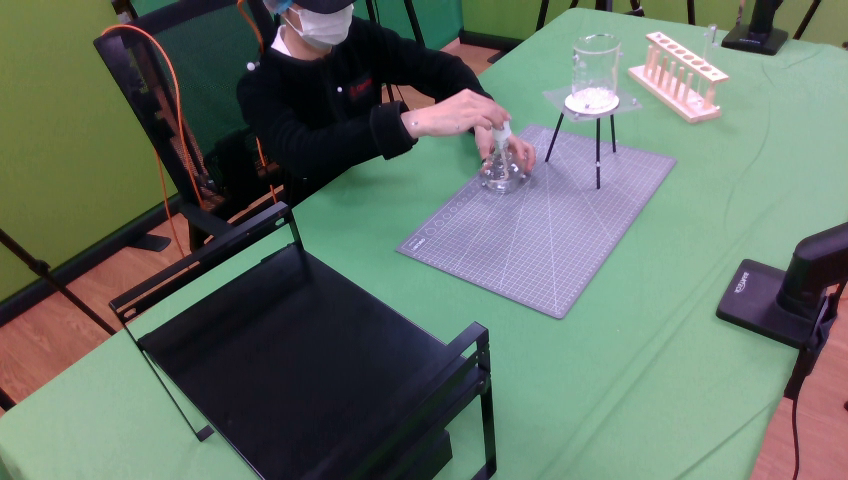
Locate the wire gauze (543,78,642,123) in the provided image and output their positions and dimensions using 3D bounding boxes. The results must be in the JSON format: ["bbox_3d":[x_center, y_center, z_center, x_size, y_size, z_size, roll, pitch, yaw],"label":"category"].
[{"bbox_3d":[0.282,-0.234,1.021,0.125,0.011,0.120,-17,38,-4],"label":"wire gauze"}]

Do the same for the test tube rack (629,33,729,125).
[{"bbox_3d":[0.516,-0.337,1.248,0.067,0.085,0.240,-14,41,-7],"label":"test tube rack"}]

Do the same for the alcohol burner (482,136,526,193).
[{"bbox_3d":[0.138,-0.142,1.052,0.078,0.119,0.077,-5,42,5],"label":"alcohol burner"}]

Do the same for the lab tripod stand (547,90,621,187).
[{"bbox_3d":[0.289,-0.184,1.062,0.148,0.132,0.147,-6,41,6],"label":"lab tripod stand"}]

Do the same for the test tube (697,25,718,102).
[{"bbox_3d":[0.546,-0.337,1.166,0.017,0.151,0.017,-5,36,4],"label":"test tube"}]

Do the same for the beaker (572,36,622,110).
[{"bbox_3d":[0.279,-0.274,0.992,0.074,0.101,0.083,-14,40,-5],"label":"beaker"}]

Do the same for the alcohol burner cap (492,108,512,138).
[{"bbox_3d":[0.127,-0.197,1.004,0.034,0.048,0.033,-9,45,9],"label":"alcohol burner cap"}]
